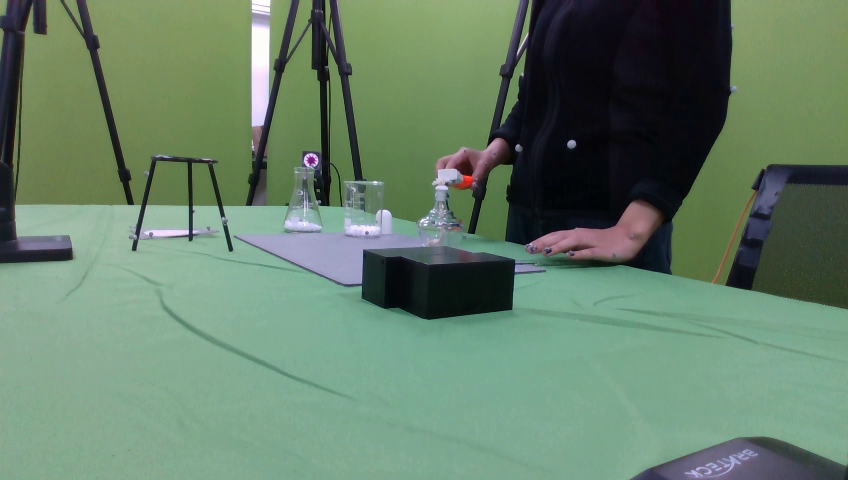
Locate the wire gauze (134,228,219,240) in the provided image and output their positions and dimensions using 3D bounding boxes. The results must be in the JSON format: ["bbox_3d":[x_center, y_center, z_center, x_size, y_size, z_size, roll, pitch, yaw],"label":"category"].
[{"bbox_3d":[-0.421,-0.014,1.024,0.122,0.011,0.124,-2,7,-34],"label":"wire gauze"}]

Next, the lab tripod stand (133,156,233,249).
[{"bbox_3d":[-0.342,-0.054,0.878,0.148,0.131,0.148,4,6,0],"label":"lab tripod stand"}]

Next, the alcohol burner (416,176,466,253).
[{"bbox_3d":[0.027,-0.040,0.934,0.078,0.119,0.078,2,9,0],"label":"alcohol burner"}]

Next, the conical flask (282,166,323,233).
[{"bbox_3d":[-0.225,-0.076,1.129,0.075,0.122,0.075,2,8,0],"label":"conical flask"}]

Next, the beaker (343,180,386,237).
[{"bbox_3d":[-0.111,-0.058,1.090,0.083,0.100,0.074,7,8,33],"label":"beaker"}]

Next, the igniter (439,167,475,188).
[{"bbox_3d":[0.060,-0.111,1.082,0.057,0.025,0.277,-2,2,9],"label":"igniter"}]

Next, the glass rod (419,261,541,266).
[{"bbox_3d":[0.080,0.031,0.807,0.201,0.008,0.008,1,6,-32],"label":"glass rod"}]

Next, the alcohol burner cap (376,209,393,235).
[{"bbox_3d":[-0.075,-0.036,1.150,0.034,0.048,0.034,2,7,0],"label":"alcohol burner cap"}]
